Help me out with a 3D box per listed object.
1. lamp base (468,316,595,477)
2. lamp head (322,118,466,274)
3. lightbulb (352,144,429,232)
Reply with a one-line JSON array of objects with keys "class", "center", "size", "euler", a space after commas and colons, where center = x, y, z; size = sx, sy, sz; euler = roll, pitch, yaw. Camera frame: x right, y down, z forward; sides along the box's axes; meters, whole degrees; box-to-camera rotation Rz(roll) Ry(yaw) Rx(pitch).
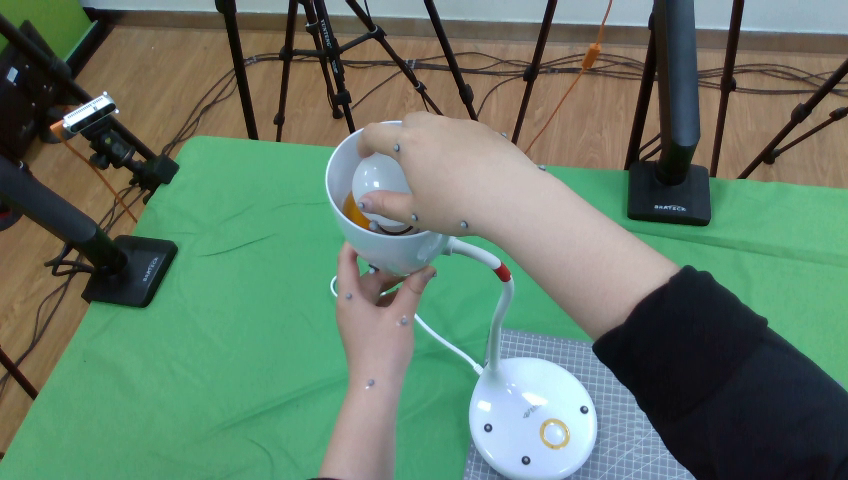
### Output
[{"class": "lamp base", "center": [0.117, 0.169, 0.713], "size": [0.177, 0.182, 0.160], "euler": [31, 64, 28]}, {"class": "lamp head", "center": [-0.019, -0.023, 0.510], "size": [0.112, 0.124, 0.111], "euler": [-2, 59, 4]}, {"class": "lightbulb", "center": [-0.024, -0.034, 0.486], "size": [0.059, 0.108, 0.059], "euler": [-1, 68, 2]}]
